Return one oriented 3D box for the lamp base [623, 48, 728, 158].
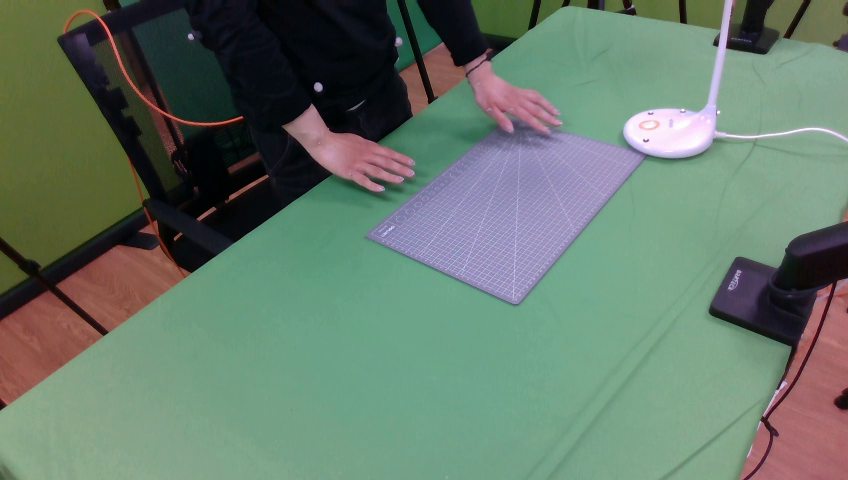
[{"bbox_3d":[0.462,-0.261,1.084,0.179,0.181,0.160,3,42,7],"label":"lamp base"}]
